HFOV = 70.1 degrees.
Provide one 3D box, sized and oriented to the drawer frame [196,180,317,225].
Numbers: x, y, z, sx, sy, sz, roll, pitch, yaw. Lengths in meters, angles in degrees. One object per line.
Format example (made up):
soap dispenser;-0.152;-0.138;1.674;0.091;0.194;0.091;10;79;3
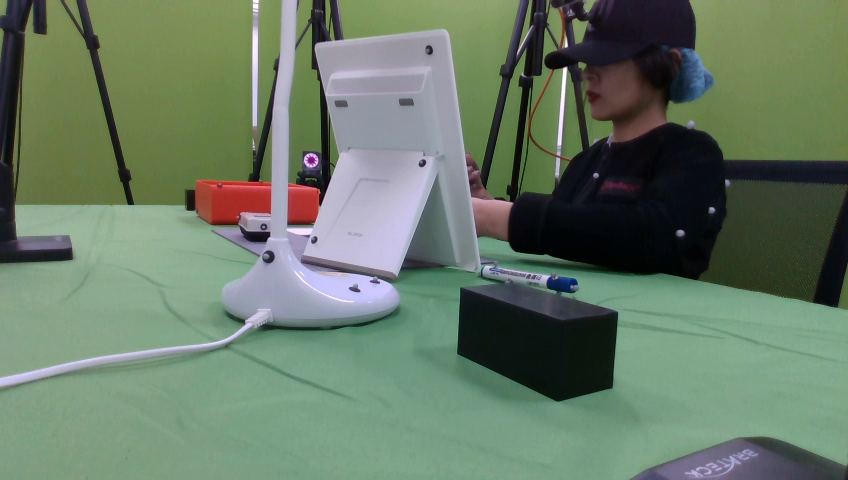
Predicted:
drawer frame;-0.359;-0.083;1.292;0.215;0.082;0.200;-2;10;-30

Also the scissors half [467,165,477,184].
scissors half;0.048;-0.178;1.221;0.013;0.175;0.040;-31;18;39

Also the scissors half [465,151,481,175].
scissors half;0.054;-0.192;1.234;0.176;0.040;0.012;36;-40;-25

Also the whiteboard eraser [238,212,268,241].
whiteboard eraser;-0.272;-0.024;0.998;0.056;0.042;0.112;-2;9;-24

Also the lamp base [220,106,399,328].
lamp base;-0.102;-0.023;0.531;0.160;0.180;0.179;4;10;10

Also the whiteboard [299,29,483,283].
whiteboard;-0.074;-0.082;0.742;0.216;0.305;0.144;9;29;38

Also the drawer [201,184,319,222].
drawer;-0.353;-0.082;1.296;0.213;0.073;0.193;-2;10;-28

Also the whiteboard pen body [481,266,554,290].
whiteboard pen body;0.115;0.044;0.695;0.017;0.017;0.140;-3;6;-35

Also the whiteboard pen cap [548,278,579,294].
whiteboard pen cap;0.148;0.049;0.647;0.018;0.018;0.033;-3;3;-36
